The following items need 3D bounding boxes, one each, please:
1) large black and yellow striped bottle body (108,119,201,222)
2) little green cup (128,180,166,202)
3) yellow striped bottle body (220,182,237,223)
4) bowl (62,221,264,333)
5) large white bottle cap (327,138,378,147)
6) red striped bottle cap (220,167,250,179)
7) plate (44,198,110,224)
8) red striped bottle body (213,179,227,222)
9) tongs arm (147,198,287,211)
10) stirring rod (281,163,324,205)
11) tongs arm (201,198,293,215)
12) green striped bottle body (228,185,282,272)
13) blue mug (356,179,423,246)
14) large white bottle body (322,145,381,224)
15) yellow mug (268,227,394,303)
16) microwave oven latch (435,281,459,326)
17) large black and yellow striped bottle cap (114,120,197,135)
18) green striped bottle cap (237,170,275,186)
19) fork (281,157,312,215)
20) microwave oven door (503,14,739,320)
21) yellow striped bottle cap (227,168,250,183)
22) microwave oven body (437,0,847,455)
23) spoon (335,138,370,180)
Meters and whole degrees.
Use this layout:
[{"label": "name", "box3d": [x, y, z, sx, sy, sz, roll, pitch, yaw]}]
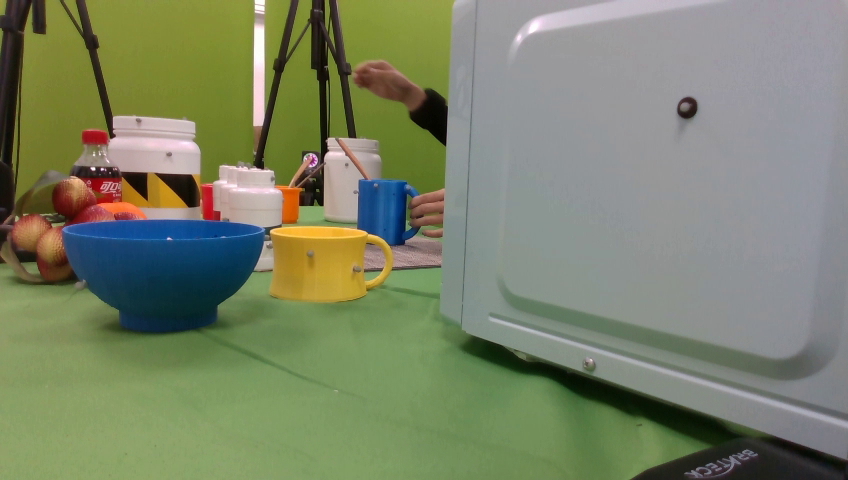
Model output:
[{"label": "large black and yellow striped bottle body", "box3d": [-0.412, -0.088, 0.930, 0.131, 0.184, 0.130, 3, 7, 0]}, {"label": "little green cup", "box3d": [-0.485, -0.087, 1.062, 0.061, 0.038, 0.061, -1, 6, 0]}, {"label": "yellow striped bottle body", "box3d": [-0.246, -0.036, 0.825, 0.063, 0.120, 0.063, 3, 8, 0]}, {"label": "bowl", "box3d": [-0.209, 0.029, 0.496, 0.151, 0.077, 0.151, 2, 7, 0]}, {"label": "large white bottle cap", "box3d": [-0.160, -0.218, 1.357, 0.115, 0.018, 0.115, 2, 8, 0]}, {"label": "red striped bottle cap", "box3d": [-0.281, -0.100, 0.901, 0.044, 0.017, 0.044, -1, 5, 0]}, {"label": "plate", "box3d": [-0.617, -0.056, 1.179, 0.209, 0.038, 0.209, 3, 7, 0]}, {"label": "red striped bottle body", "box3d": [-0.284, -0.048, 0.909, 0.063, 0.119, 0.063, 3, 10, 0]}, {"label": "tongs arm", "box3d": [-0.504, -0.091, 1.513, 0.028, 0.028, 0.389, -1, 4, 38]}, {"label": "stirring rod", "box3d": [-0.278, -0.105, 1.293, 0.176, 0.006, 0.014, -47, 24, -18]}, {"label": "tongs arm", "box3d": [-0.423, -0.084, 1.472, 0.050, 0.026, 0.386, 1, 6, 21]}, {"label": "green striped bottle body", "box3d": [-0.208, -0.023, 0.745, 0.063, 0.119, 0.063, 3, 7, 0]}, {"label": "blue mug", "box3d": [-0.056, -0.046, 1.005, 0.116, 0.106, 0.082, 6, 8, 19]}, {"label": "large white bottle body", "box3d": [-0.163, -0.135, 1.368, 0.131, 0.184, 0.130, 2, 7, 0]}, {"label": "yellow mug", "box3d": [-0.094, 0.023, 0.629, 0.131, 0.064, 0.099, 0, 6, -22]}, {"label": "microwave oven latch", "box3d": [0.044, 0.045, 0.470, 0.079, 0.029, 0.030, -3, 8, -39]}, {"label": "large black and yellow striped bottle cap", "box3d": [-0.407, -0.171, 0.920, 0.115, 0.019, 0.115, 2, 9, 0]}, {"label": "green striped bottle cap", "box3d": [-0.205, -0.075, 0.737, 0.044, 0.020, 0.044, 1, 6, 0]}, {"label": "fork", "box3d": [-0.289, -0.116, 1.321, 0.028, 0.019, 0.207, 6, 51, 19]}, {"label": "microwave oven door", "box3d": [0.218, -0.065, 0.600, 0.358, 0.243, 0.039, -4, 10, -41]}, {"label": "yellow striped bottle cap", "box3d": [-0.243, -0.087, 0.818, 0.044, 0.018, 0.044, 4, 6, 0]}, {"label": "microwave oven body", "box3d": [0.279, -0.040, 0.465, 0.444, 0.260, 0.324, -3, 9, -41]}, {"label": "spoon", "box3d": [-0.095, -0.094, 1.019, 0.021, 0.193, 0.042, -32, -6, 20]}]
